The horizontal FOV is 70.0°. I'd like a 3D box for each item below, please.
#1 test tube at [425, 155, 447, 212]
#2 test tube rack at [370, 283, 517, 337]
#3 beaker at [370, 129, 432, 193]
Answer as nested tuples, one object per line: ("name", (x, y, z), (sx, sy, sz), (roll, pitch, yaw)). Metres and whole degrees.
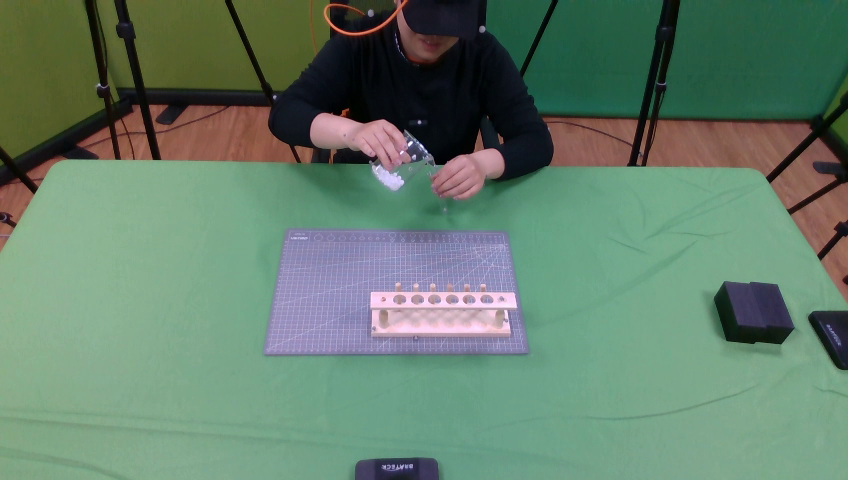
("test tube", (0.025, -0.109, 1.197), (0.017, 0.151, 0.017), (-8, 49, 10))
("test tube rack", (0.030, 0.116, 1.041), (0.242, 0.085, 0.066), (1, 46, -4))
("beaker", (-0.043, -0.143, 1.122), (0.100, 0.084, 0.073), (-44, 44, 9))
